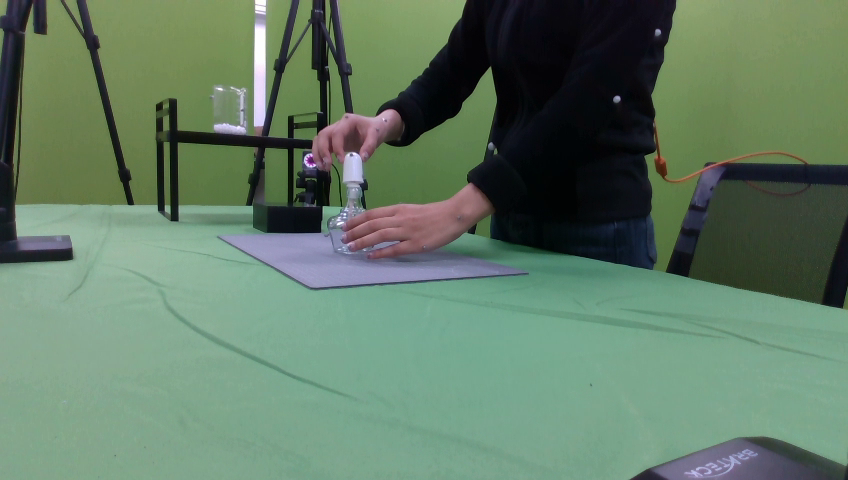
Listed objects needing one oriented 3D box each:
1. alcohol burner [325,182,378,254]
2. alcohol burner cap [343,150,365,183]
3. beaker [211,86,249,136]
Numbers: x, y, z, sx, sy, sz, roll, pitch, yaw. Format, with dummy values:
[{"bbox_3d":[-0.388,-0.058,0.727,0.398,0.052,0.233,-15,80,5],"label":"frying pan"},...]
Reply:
[{"bbox_3d":[-0.107,-0.040,0.895,0.078,0.119,0.078,2,5,0],"label":"alcohol burner"},{"bbox_3d":[-0.103,-0.108,0.894,0.034,0.048,0.034,3,11,0],"label":"alcohol burner cap"},{"bbox_3d":[-0.413,-0.274,1.297,0.074,0.100,0.083,-5,11,-44],"label":"beaker"}]
